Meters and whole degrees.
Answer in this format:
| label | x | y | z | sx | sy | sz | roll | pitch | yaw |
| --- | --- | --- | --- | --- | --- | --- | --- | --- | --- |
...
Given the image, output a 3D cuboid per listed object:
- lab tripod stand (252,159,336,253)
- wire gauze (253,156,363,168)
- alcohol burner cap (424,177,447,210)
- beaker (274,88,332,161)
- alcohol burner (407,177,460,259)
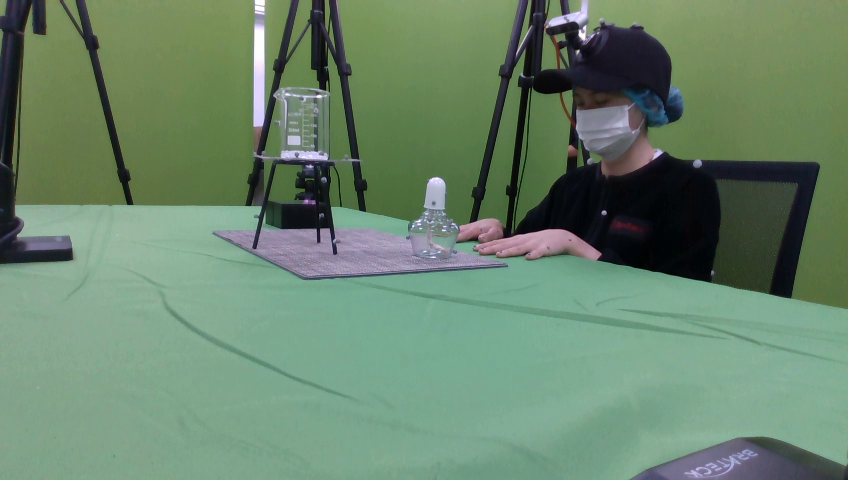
| label | x | y | z | sx | sy | sz | roll | pitch | yaw |
| --- | --- | --- | --- | --- | --- | --- | --- | --- | --- |
| lab tripod stand | -0.180 | -0.053 | 0.900 | 0.148 | 0.131 | 0.148 | 1 | 6 | 0 |
| wire gauze | -0.172 | -0.117 | 0.891 | 0.122 | 0.011 | 0.124 | 0 | 3 | -38 |
| alcohol burner cap | 0.018 | -0.067 | 0.876 | 0.034 | 0.048 | 0.034 | 4 | 13 | -1 |
| beaker | -0.177 | -0.165 | 0.879 | 0.084 | 0.100 | 0.074 | 2 | 5 | 1 |
| alcohol burner | 0.015 | -0.032 | 0.882 | 0.078 | 0.119 | 0.078 | 3 | 5 | 0 |
